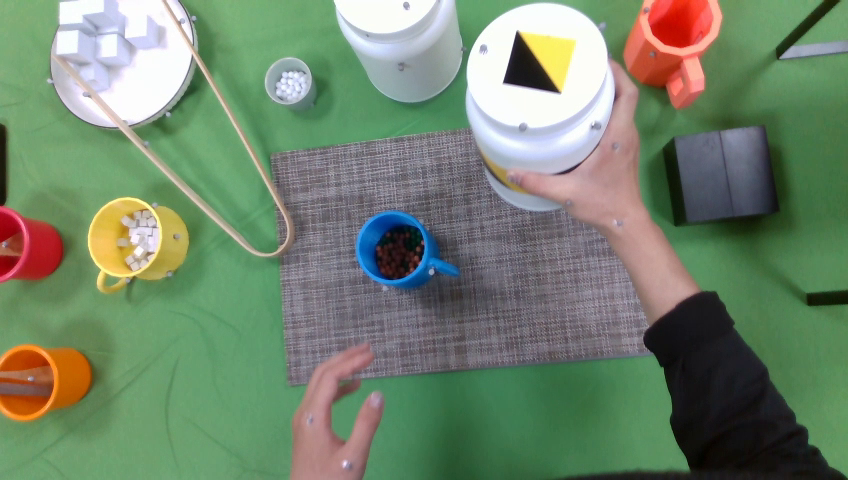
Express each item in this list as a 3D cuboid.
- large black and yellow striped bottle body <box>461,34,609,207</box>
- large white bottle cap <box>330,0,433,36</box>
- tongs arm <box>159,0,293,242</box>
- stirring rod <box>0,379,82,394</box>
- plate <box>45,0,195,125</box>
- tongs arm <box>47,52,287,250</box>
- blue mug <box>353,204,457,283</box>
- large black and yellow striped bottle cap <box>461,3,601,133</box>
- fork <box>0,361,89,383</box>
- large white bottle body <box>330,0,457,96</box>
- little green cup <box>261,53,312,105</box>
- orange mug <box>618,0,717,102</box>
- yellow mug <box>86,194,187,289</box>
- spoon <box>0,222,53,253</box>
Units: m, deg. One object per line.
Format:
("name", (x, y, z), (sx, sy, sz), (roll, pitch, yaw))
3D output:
("large black and yellow striped bottle body", (0.108, -0.120, 0.581), (0.130, 0.185, 0.130), (-4, 74, 13))
("large white bottle cap", (-0.043, -0.266, 0.615), (0.114, 0.018, 0.114), (-1, 85, 8))
("tongs arm", (-0.263, -0.171, 0.777), (0.028, 0.028, 0.387), (-30, 89, -5))
("stirring rod", (-0.516, 0.176, 0.738), (0.006, 0.177, 0.014), (-22, 61, 47))
("plate", (-0.404, -0.254, 0.817), (0.207, 0.039, 0.207), (-1, 85, 7))
("tongs arm", (-0.329, -0.118, 0.776), (0.051, 0.026, 0.384), (-44, 89, -3))
("blue mug", (-0.016, 0.012, 0.709), (0.116, 0.106, 0.082), (19, 87, 8))
("large black and yellow striped bottle cap", (0.088, -0.144, 0.502), (0.115, 0.019, 0.114), (-3, 74, 11))
("fork", (-0.526, 0.159, 0.738), (0.209, 0.018, 0.028), (11, 83, -36))
("large white bottle body", (-0.032, -0.257, 0.698), (0.130, 0.185, 0.130), (-1, 84, 7))
("little green cup", (-0.175, -0.206, 0.785), (0.061, 0.039, 0.061), (0, 86, 7))
("orange mug", (0.284, -0.229, 0.701), (0.083, 0.101, 0.125), (-16, 79, 6))
("yellow mug", (-0.375, 0.008, 0.776), (0.099, 0.064, 0.131), (32, 90, 8))
("spoon", (-0.573, 0.019, 0.760), (0.194, 0.021, 0.041), (-24, 78, -41))
